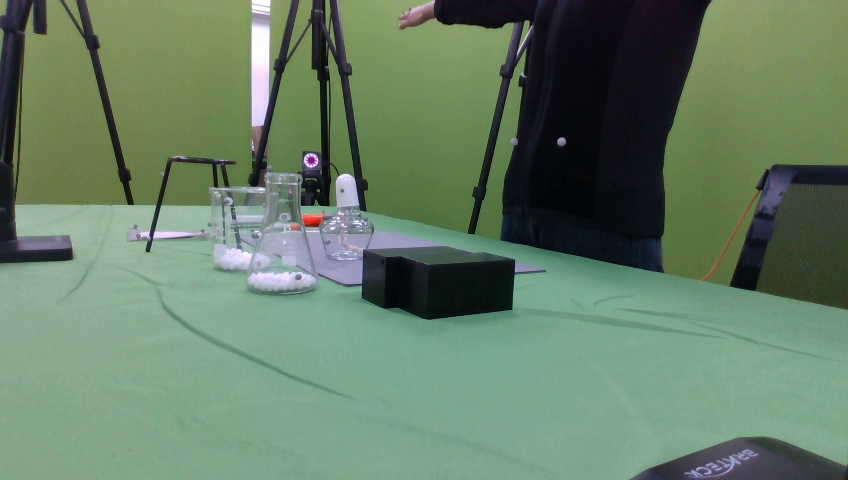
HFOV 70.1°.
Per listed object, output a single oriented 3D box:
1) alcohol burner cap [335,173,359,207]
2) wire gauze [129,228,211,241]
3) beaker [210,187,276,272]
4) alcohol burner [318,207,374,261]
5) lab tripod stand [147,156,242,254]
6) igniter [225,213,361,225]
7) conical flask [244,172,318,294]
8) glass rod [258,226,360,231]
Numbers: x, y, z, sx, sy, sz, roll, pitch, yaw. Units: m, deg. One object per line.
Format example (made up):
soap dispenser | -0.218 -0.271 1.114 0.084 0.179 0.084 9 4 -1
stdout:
alcohol burner cap | -0.108 -0.068 0.829 0.034 0.048 0.034 -7 4 1
wire gauze | -0.419 -0.010 0.999 0.122 0.011 0.124 0 6 -25
beaker | -0.224 -0.014 0.738 0.084 0.100 0.074 4 7 16
alcohol burner | -0.107 -0.032 0.833 0.078 0.119 0.078 1 6 0
lab tripod stand | -0.310 -0.050 0.858 0.148 0.131 0.148 4 6 0
igniter | -0.257 -0.042 1.221 0.278 0.025 0.057 -2 -2 -32
conical flask | -0.147 -0.009 0.628 0.075 0.122 0.075 2 7 0
glass rod | -0.215 -0.022 1.151 0.201 0.008 0.008 -2 8 -27
